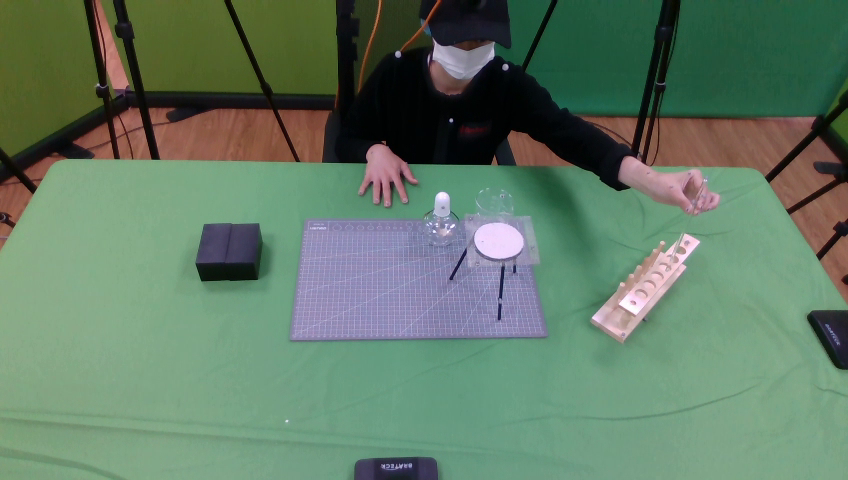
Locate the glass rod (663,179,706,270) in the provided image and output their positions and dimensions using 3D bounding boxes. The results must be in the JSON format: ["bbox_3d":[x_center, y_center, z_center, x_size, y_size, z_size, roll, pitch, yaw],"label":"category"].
[{"bbox_3d":[0.439,-0.022,1.025,0.008,0.200,0.008,2,42,-2],"label":"glass rod"}]

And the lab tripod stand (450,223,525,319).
[{"bbox_3d":[0.120,0.046,1.080,0.148,0.132,0.147,1,47,-1],"label":"lab tripod stand"}]

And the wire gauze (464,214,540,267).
[{"bbox_3d":[0.131,-0.002,1.034,0.121,0.011,0.124,1,45,-2],"label":"wire gauze"}]

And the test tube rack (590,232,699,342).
[{"bbox_3d":[0.407,0.074,1.112,0.066,0.085,0.242,35,53,26],"label":"test tube rack"}]

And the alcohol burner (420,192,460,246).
[{"bbox_3d":[0.032,-0.046,1.176,0.078,0.120,0.077,2,44,-1],"label":"alcohol burner"}]

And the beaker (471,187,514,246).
[{"bbox_3d":[0.134,-0.042,1.190,0.083,0.101,0.074,34,53,25],"label":"beaker"}]

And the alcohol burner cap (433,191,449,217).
[{"bbox_3d":[0.033,-0.070,1.150,0.034,0.048,0.033,0,45,0],"label":"alcohol burner cap"}]
